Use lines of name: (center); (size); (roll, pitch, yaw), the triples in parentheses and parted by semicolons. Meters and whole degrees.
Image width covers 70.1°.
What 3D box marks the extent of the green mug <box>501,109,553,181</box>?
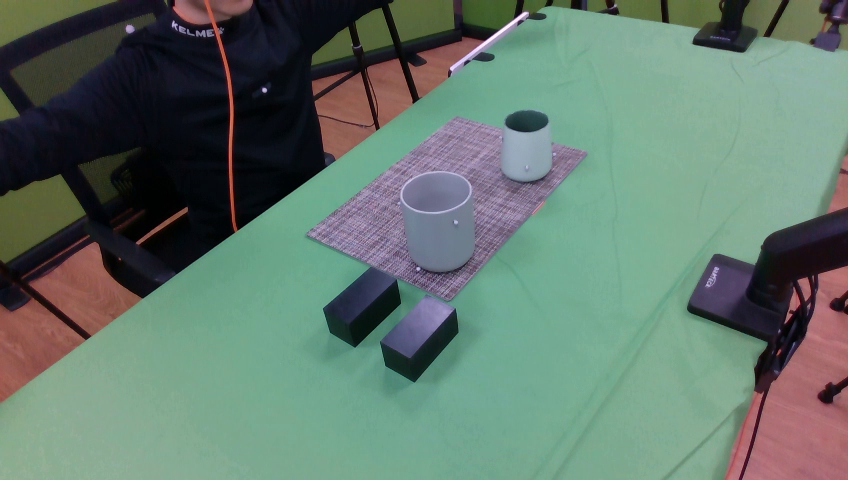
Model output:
green mug: (0.177, -0.177, 1.079); (0.093, 0.105, 0.124); (-13, 41, -6)

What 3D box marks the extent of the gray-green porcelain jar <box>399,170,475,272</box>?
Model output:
gray-green porcelain jar: (0.023, -0.024, 0.907); (0.106, 0.127, 0.105); (-4, 41, 4)
